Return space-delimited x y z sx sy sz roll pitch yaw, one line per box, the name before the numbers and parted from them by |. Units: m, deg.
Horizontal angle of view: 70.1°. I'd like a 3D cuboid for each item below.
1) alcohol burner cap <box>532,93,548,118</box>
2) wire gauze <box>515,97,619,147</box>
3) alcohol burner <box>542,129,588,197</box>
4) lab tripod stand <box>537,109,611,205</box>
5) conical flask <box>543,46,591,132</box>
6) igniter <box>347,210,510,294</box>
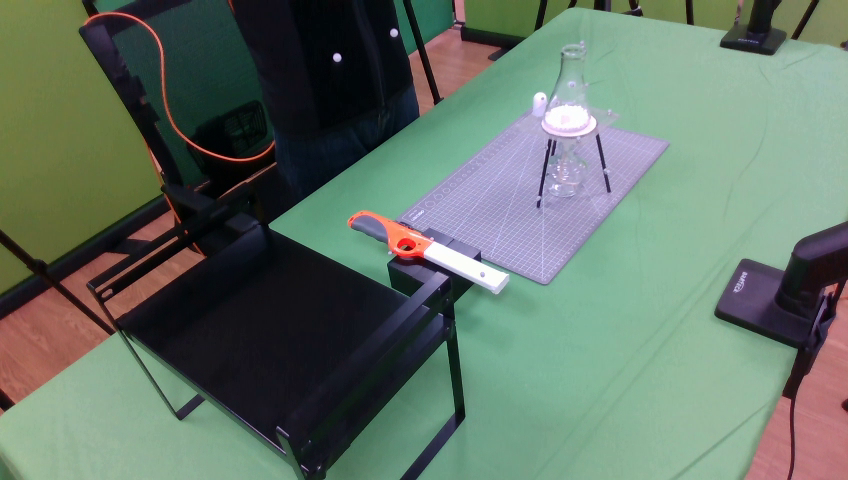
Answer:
alcohol burner cap | 0.240 -0.281 1.250 0.034 0.048 0.033 -4 42 4
wire gauze | 0.229 -0.189 0.970 0.120 0.011 0.125 25 51 34
alcohol burner | 0.239 -0.133 1.021 0.078 0.119 0.077 -4 38 4
lab tripod stand | 0.244 -0.141 1.014 0.148 0.132 0.147 -3 39 3
conical flask | 0.224 -0.234 0.932 0.075 0.122 0.075 -3 41 3
igniter | -0.002 0.012 0.884 0.274 0.025 0.057 24 53 28
